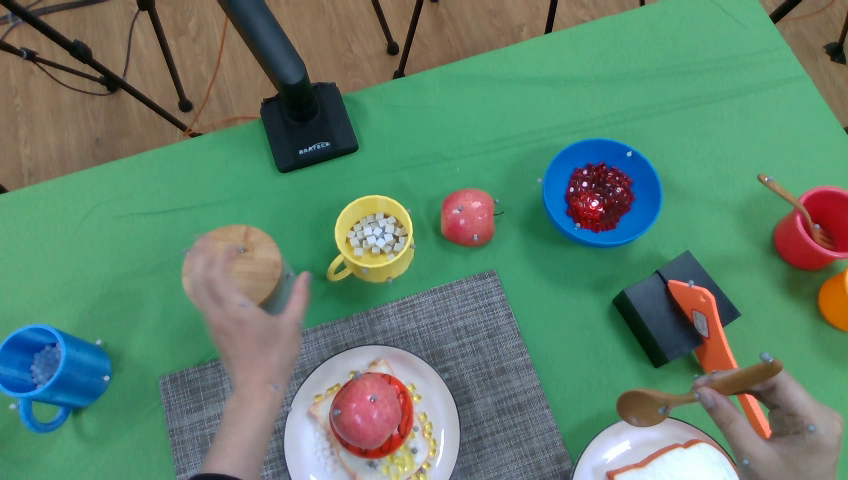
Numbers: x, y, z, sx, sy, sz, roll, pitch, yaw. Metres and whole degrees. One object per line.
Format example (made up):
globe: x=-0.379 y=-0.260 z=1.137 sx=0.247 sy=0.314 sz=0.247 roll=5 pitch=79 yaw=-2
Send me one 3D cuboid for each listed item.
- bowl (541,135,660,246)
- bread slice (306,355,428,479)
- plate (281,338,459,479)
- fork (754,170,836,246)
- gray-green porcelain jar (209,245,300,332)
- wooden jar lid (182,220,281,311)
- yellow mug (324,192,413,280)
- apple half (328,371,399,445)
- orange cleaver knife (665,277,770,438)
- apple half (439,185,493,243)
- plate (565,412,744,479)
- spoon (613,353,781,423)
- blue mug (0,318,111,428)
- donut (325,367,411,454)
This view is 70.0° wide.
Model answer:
bowl: x=0.224 y=-0.054 z=0.802 sx=0.151 sy=0.077 sz=0.150 roll=0 pitch=70 yaw=1
bread slice: x=-0.059 y=0.219 z=0.720 sx=0.107 sy=0.018 sz=0.133 roll=-35 pitch=74 yaw=-11
plate: x=-0.062 y=0.222 z=0.719 sx=0.208 sy=0.039 sz=0.206 roll=0 pitch=70 yaw=1
fork: x=0.466 y=-0.039 z=0.756 sx=0.209 sy=0.018 sz=0.028 roll=28 pitch=65 yaw=-33
gray-green porcelain jar: x=-0.212 y=0.053 z=0.740 sx=0.106 sy=0.127 sz=0.105 roll=0 pitch=69 yaw=1
wooden jar lid: x=-0.214 y=0.030 z=0.680 sx=0.108 sy=0.021 sz=0.107 roll=1 pitch=67 yaw=-1
yellow mug: x=-0.077 y=0.005 z=0.789 sx=0.131 sy=0.064 sz=0.099 roll=-40 pitch=74 yaw=-13
apple half: x=-0.067 y=0.184 z=0.664 sx=0.081 sy=0.033 sz=0.080 roll=-2 pitch=69 yaw=6
orange cleaver knife: x=0.349 y=0.138 z=0.727 sx=0.012 sy=0.077 sz=0.211 roll=-27 pitch=93 yaw=-16
apple half: x=0.057 y=-0.040 z=0.812 sx=0.074 sy=0.054 sz=0.080 roll=3 pitch=70 yaw=4
plate: x=0.261 y=0.302 z=0.691 sx=0.209 sy=0.038 sz=0.207 roll=0 pitch=70 yaw=1
spoon: x=0.209 y=0.120 z=0.480 sx=0.041 sy=0.194 sz=0.021 roll=42 pitch=66 yaw=6
blue mug: x=-0.439 y=0.161 z=0.712 sx=0.082 sy=0.106 sz=0.116 roll=2 pitch=70 yaw=1
donut: x=-0.063 y=0.196 z=0.699 sx=0.099 sy=0.048 sz=0.098 roll=0 pitch=70 yaw=1
